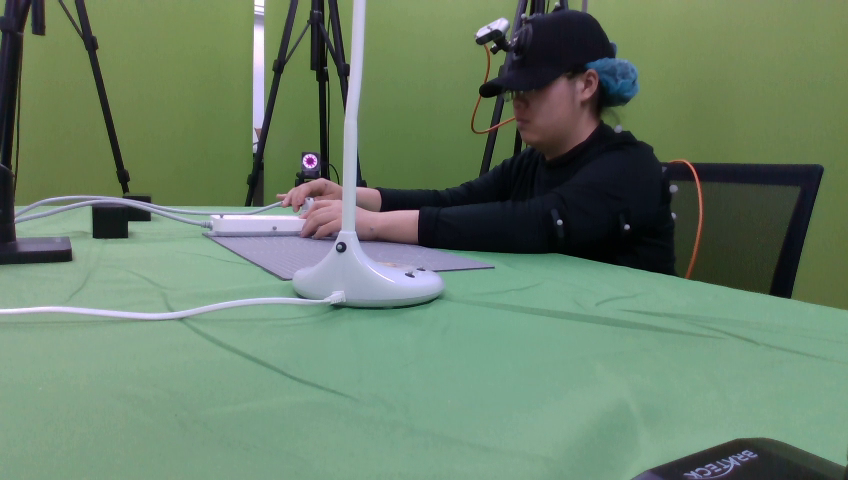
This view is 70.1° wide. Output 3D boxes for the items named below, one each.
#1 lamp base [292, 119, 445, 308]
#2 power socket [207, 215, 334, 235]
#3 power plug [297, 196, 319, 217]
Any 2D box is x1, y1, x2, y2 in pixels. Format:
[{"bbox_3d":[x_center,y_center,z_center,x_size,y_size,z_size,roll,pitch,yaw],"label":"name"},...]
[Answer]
[{"bbox_3d":[-0.056,-0.030,0.616,0.160,0.180,0.179,3,10,8],"label":"lamp base"},{"bbox_3d":[-0.270,-0.028,1.082,0.228,0.032,0.072,-1,7,-30],"label":"power socket"},{"bbox_3d":[-0.219,-0.057,1.142,0.035,0.052,0.072,-1,7,-18],"label":"power plug"}]
